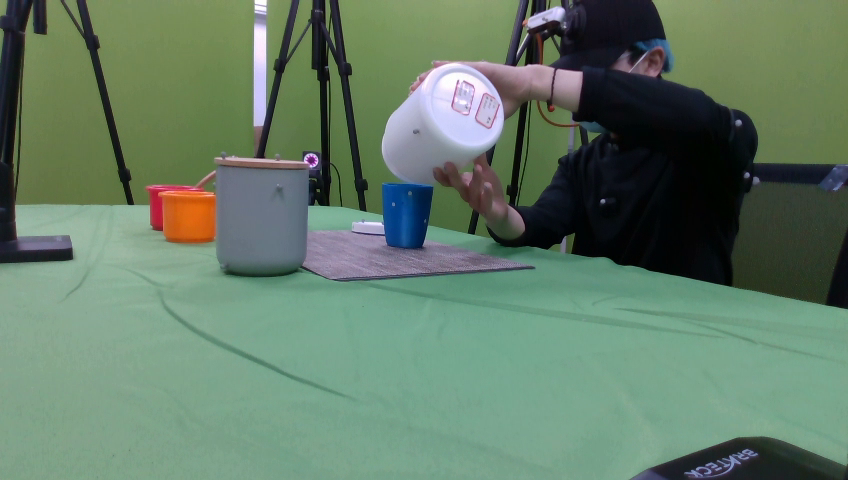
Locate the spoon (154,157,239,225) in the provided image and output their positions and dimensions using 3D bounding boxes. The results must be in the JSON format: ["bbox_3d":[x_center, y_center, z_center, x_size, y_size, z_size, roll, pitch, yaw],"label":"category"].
[{"bbox_3d":[-0.411,-0.092,1.105,0.041,0.022,0.194,13,56,51],"label":"spoon"}]

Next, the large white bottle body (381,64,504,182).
[{"bbox_3d":[0.019,-0.161,0.892,0.131,0.130,0.184,-1,-11,-26],"label":"large white bottle body"}]

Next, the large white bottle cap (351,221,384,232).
[{"bbox_3d":[-0.082,-0.025,1.162,0.115,0.018,0.115,3,3,0],"label":"large white bottle cap"}]

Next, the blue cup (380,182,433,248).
[{"bbox_3d":[-0.029,-0.042,0.980,0.093,0.100,0.092,2,9,0],"label":"blue cup"}]

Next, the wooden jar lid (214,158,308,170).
[{"bbox_3d":[-0.193,-0.085,0.719,0.108,0.020,0.108,2,9,0],"label":"wooden jar lid"}]

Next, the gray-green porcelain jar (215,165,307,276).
[{"bbox_3d":[-0.195,-0.024,0.726,0.106,0.126,0.106,3,7,0],"label":"gray-green porcelain jar"}]

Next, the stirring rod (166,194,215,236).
[{"bbox_3d":[-0.341,-0.066,0.967,0.176,0.006,0.014,-42,23,-9],"label":"stirring rod"}]
